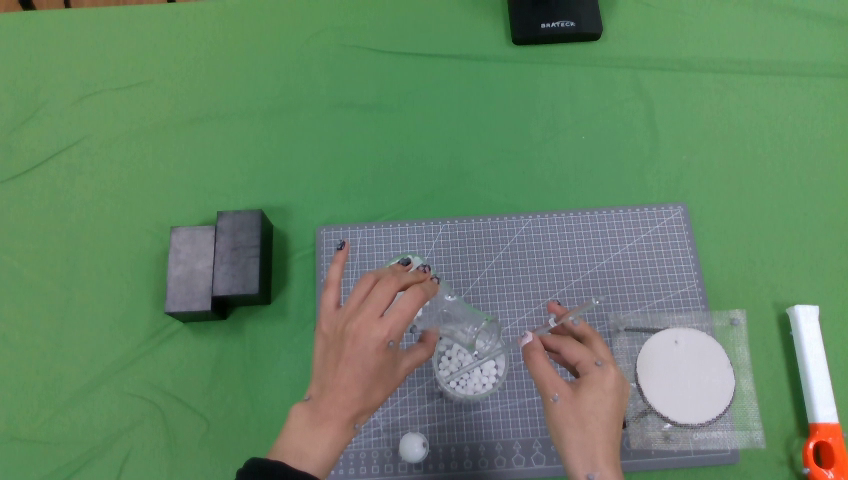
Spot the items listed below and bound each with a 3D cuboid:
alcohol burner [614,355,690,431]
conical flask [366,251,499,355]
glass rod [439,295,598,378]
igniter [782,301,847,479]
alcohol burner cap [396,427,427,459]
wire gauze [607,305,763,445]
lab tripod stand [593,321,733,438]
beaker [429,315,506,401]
[{"bbox_3d":[0.235,0.153,0.613,0.078,0.120,0.077,-1,72,3],"label":"alcohol burner"},{"bbox_3d":[0.011,0.061,0.547,0.120,0.076,0.075,24,70,41],"label":"conical flask"},{"bbox_3d":[0.076,0.091,0.540,0.008,0.200,0.008,23,49,-29],"label":"glass rod"},{"bbox_3d":[0.422,0.201,0.643,0.057,0.025,0.274,4,72,-10],"label":"igniter"},{"bbox_3d":[-0.014,0.212,0.633,0.034,0.048,0.033,0,72,0],"label":"alcohol burner cap"},{"bbox_3d":[0.233,0.120,0.542,0.125,0.011,0.120,-1,73,1],"label":"wire gauze"},{"bbox_3d":[0.233,0.143,0.605,0.148,0.132,0.147,0,73,1],"label":"lab tripod stand"},{"bbox_3d":[0.045,0.127,0.631,0.074,0.101,0.083,19,72,7],"label":"beaker"}]
